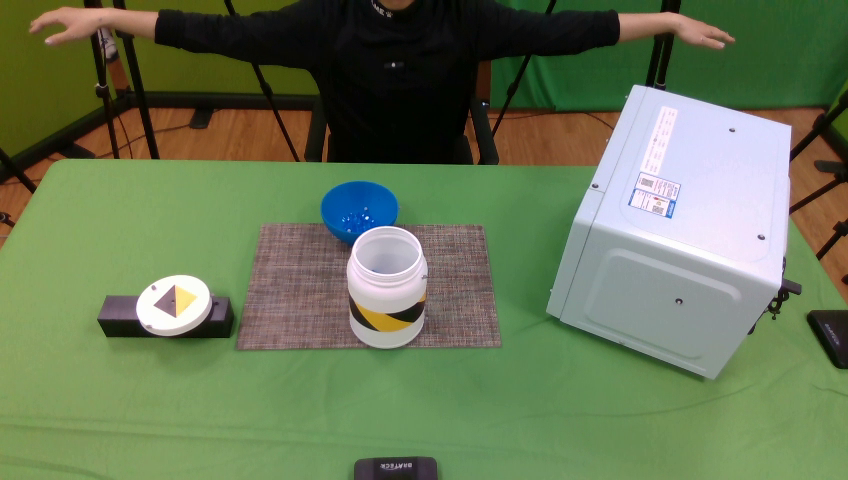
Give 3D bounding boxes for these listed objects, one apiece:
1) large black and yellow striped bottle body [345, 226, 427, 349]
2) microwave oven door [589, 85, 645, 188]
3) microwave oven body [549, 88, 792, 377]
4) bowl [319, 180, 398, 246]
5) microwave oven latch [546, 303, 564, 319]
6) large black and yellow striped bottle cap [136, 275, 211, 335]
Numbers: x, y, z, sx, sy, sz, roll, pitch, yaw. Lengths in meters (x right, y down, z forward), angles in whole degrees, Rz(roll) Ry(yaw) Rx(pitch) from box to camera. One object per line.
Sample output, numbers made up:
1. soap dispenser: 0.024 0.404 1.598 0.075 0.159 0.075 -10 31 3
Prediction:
1. large black and yellow striped bottle body: -0.062 0.078 0.998 0.131 0.185 0.130 2 46 -2
2. microwave oven door: 0.342 -0.107 1.149 0.039 0.245 0.354 20 48 15
3. microwave oven body: 0.456 -0.028 1.088 0.325 0.261 0.440 20 47 16
4. bowl: -0.126 -0.039 1.181 0.151 0.077 0.150 3 46 -2
5. microwave oven latch: 0.242 0.102 1.081 0.030 0.029 0.079 21 48 17
6. large black and yellow striped bottle cap: -0.412 0.105 0.999 0.115 0.019 0.114 3 46 -3
